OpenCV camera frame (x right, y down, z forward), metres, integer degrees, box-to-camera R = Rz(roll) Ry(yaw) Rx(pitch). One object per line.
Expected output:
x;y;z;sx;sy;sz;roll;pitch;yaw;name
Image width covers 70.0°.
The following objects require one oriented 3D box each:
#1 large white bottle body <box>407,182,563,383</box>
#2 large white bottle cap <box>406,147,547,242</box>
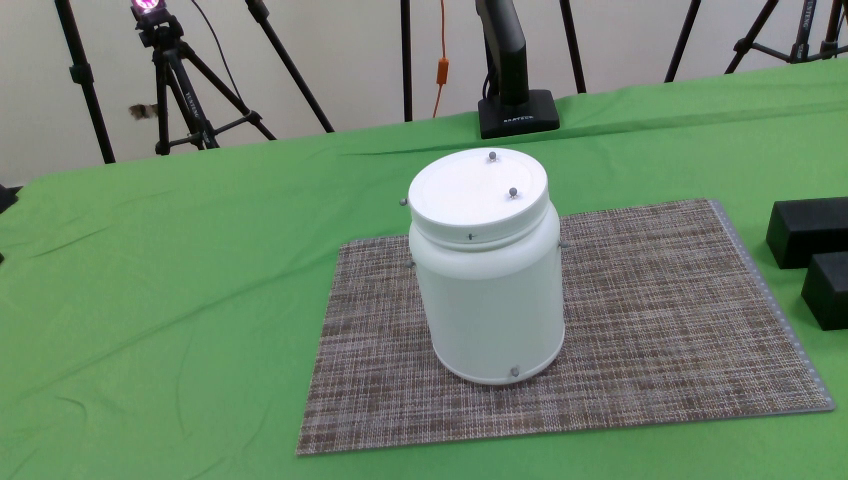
0.057;0.025;0.548;0.130;0.186;0.129;-8;38;6;large white bottle body
0.042;-0.040;0.495;0.115;0.018;0.113;-8;38;6;large white bottle cap
